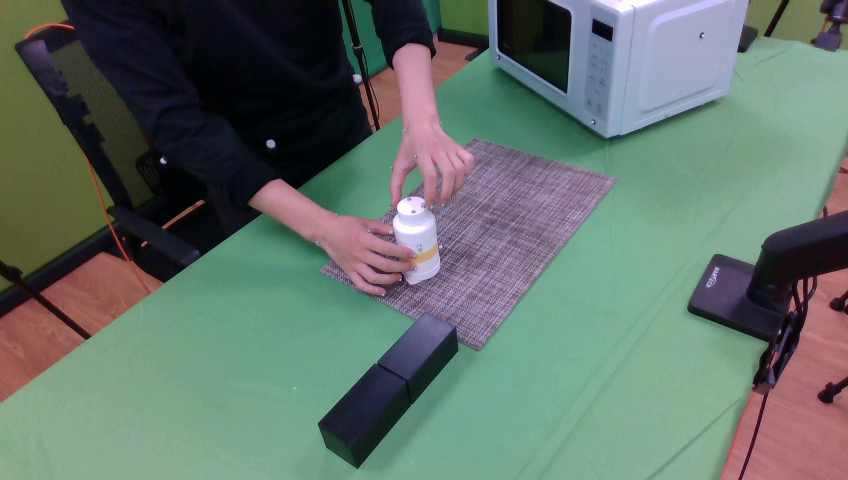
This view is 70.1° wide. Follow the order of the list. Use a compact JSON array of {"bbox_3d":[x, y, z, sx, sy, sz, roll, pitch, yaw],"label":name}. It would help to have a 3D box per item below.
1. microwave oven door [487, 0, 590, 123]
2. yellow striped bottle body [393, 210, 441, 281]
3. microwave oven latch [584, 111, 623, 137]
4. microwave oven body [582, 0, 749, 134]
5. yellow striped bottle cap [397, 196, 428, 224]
[{"bbox_3d":[0.232,-0.420,1.230,0.039,0.245,0.352,-22,43,-16],"label":"microwave oven door"},{"bbox_3d":[-0.011,-0.002,0.892,0.063,0.121,0.062,-4,41,4],"label":"yellow striped bottle body"},{"bbox_3d":[0.337,-0.222,1.142,0.030,0.029,0.078,-21,42,-14],"label":"microwave oven latch"},{"bbox_3d":[0.382,-0.444,1.246,0.327,0.261,0.437,-22,42,-16],"label":"microwave oven body"},{"bbox_3d":[-0.017,-0.042,0.857,0.044,0.019,0.044,-2,42,3],"label":"yellow striped bottle cap"}]
